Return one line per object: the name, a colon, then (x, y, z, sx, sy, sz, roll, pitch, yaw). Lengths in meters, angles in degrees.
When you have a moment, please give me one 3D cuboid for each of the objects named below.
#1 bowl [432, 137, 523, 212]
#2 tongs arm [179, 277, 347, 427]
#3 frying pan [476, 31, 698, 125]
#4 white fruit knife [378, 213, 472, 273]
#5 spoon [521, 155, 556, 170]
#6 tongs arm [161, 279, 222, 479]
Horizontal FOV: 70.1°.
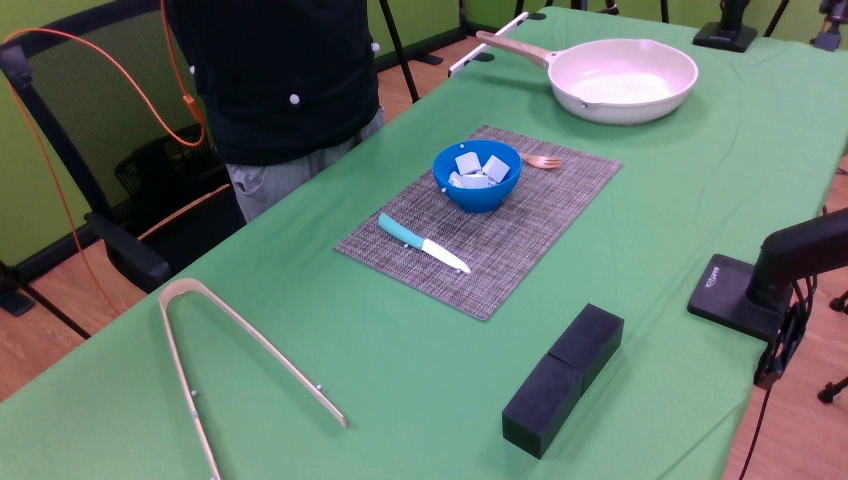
bowl: (0.091, -0.100, 1.022, 0.151, 0.077, 0.150, -4, 41, 4)
tongs arm: (-0.231, 0.141, 0.832, 0.384, 0.028, 0.028, 30, 55, 35)
frying pan: (0.320, -0.371, 1.290, 0.484, 0.103, 0.307, 29, 51, 24)
white fruit knife: (-0.004, 0.005, 0.961, 0.205, 0.016, 0.027, 29, 62, 34)
spoon: (0.156, -0.161, 1.126, 0.192, 0.022, 0.042, 25, 36, 29)
tongs arm: (-0.297, 0.174, 0.797, 0.051, 0.026, 0.381, -25, 43, -21)
